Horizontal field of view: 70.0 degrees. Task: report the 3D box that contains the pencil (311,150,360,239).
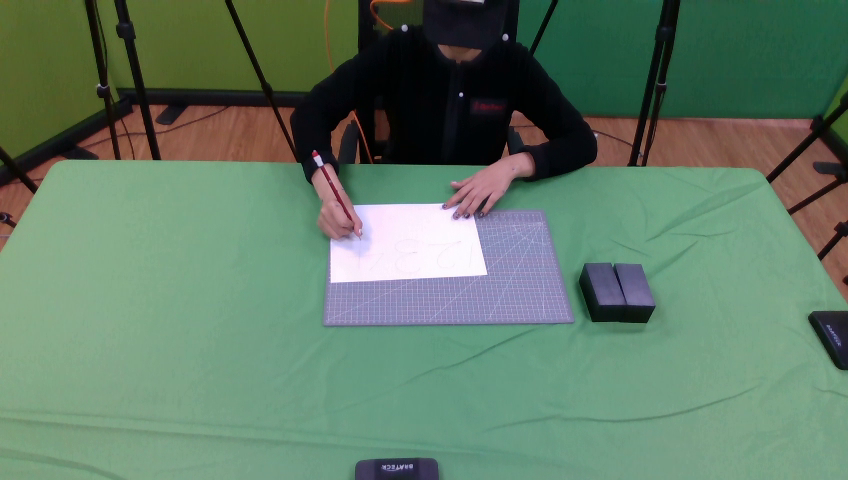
[{"bbox_3d":[-0.168,-0.085,1.167,0.012,0.195,0.012,-23,19,9],"label":"pencil"}]
